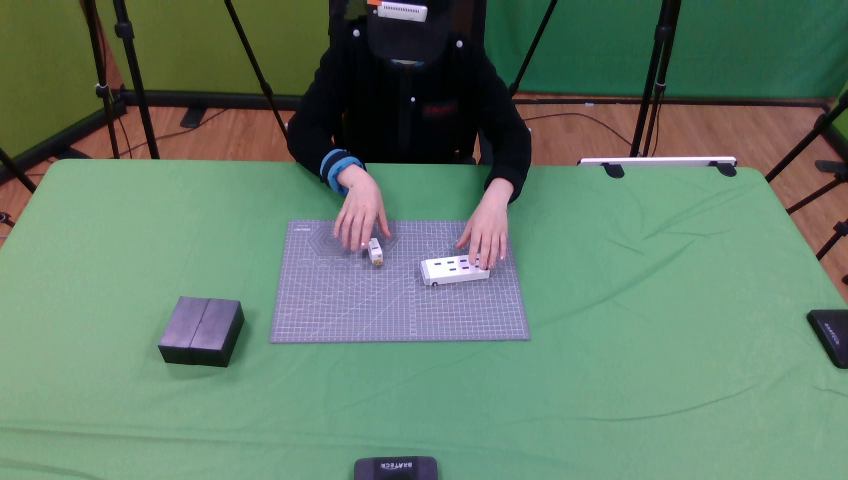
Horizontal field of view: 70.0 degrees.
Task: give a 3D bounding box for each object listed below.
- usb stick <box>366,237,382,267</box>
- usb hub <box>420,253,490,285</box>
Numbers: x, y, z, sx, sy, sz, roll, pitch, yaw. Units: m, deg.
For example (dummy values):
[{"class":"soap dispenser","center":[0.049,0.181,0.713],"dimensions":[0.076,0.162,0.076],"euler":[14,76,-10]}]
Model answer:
[{"class":"usb stick","center":[-0.094,0.024,1.159],"dimensions":[0.021,0.027,0.059],"euler":[-11,51,-15]},{"class":"usb hub","center":[0.059,0.055,1.142],"dimensions":[0.125,0.025,0.049],"euler":[-7,47,-10]}]
